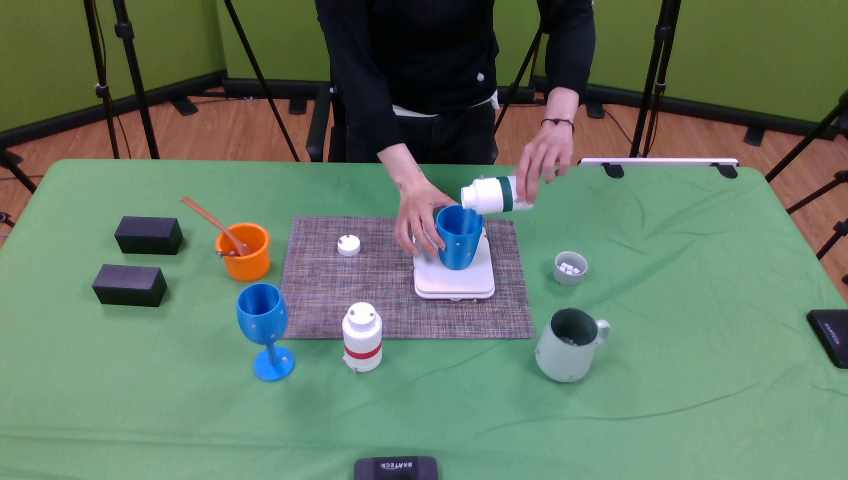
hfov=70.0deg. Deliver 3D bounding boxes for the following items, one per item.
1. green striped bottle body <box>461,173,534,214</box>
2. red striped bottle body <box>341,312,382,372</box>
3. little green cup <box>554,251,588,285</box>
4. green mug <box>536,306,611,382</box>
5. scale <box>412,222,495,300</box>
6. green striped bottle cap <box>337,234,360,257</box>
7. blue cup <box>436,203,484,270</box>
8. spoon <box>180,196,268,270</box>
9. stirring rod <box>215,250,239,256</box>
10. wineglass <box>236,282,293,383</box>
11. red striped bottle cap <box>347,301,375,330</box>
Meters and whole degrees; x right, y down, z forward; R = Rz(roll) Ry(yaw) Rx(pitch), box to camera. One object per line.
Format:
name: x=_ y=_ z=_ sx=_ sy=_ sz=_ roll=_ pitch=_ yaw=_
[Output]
green striped bottle body: x=0.125 y=-0.080 z=1.047 sx=0.119 sy=0.063 sz=0.063 roll=-6 pitch=46 yaw=-3
red striped bottle body: x=-0.100 y=0.154 z=0.972 sx=0.063 sy=0.120 sz=0.062 roll=2 pitch=46 yaw=-2
little green cup: x=0.277 y=0.055 z=1.151 sx=0.061 sy=0.039 sz=0.061 roll=1 pitch=47 yaw=-1
green mug: x=0.250 y=0.167 z=0.996 sx=0.125 sy=0.105 sz=0.092 roll=-15 pitch=48 yaw=-18
scale: x=0.052 y=0.031 z=1.158 sx=0.149 sy=0.032 sz=0.199 roll=1 pitch=46 yaw=-4
green striped bottle cap: x=-0.147 y=0.010 z=1.175 sx=0.044 sy=0.020 sz=0.044 roll=3 pitch=48 yaw=-3
blue cup: x=0.062 y=-0.001 z=1.098 sx=0.093 sy=0.101 sz=0.092 roll=1 pitch=44 yaw=-1
spoon: x=-0.360 y=-0.014 z=1.094 sx=0.021 sy=0.194 sz=0.041 roll=-28 pitch=26 yaw=31
stirring rod: x=-0.339 y=0.024 z=1.059 sx=0.014 sy=0.176 sz=0.006 roll=18 pitch=86 yaw=-6
wineglass: x=-0.243 y=0.143 z=0.934 sx=0.074 sy=0.173 sz=0.073 roll=2 pitch=46 yaw=-2
red striped bottle cap: x=-0.097 y=0.116 z=0.934 sx=0.044 sy=0.018 sz=0.044 roll=2 pitch=49 yaw=-2
